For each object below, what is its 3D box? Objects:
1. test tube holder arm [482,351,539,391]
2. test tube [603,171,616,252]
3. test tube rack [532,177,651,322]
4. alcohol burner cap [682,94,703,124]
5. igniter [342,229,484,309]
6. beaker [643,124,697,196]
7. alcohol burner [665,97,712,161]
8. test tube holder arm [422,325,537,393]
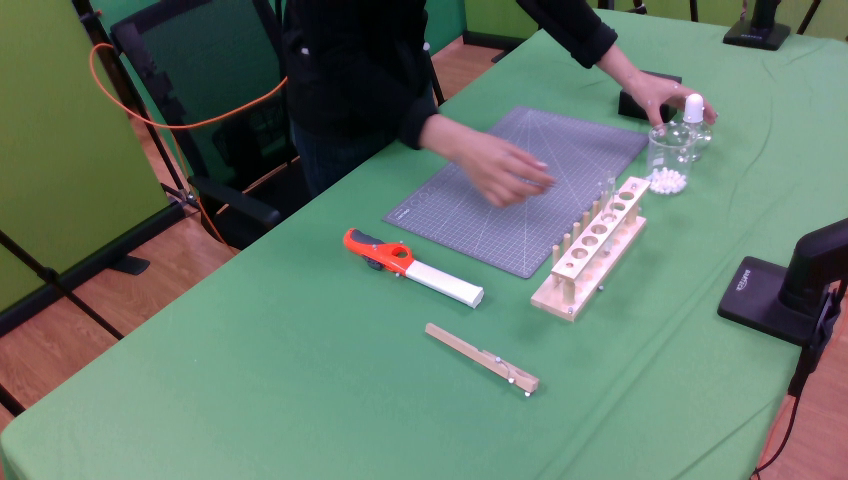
[{"bbox_3d":[0.106,0.166,0.769,0.087,0.015,0.010,24,15,34],"label":"test tube holder arm"},{"bbox_3d":[0.260,-0.036,0.847,0.017,0.151,0.017,-8,46,9],"label":"test tube"},{"bbox_3d":[0.247,0.002,0.883,0.066,0.085,0.243,22,49,32],"label":"test tube rack"},{"bbox_3d":[0.460,-0.225,1.033,0.034,0.048,0.033,-8,35,6],"label":"alcohol burner cap"},{"bbox_3d":[-0.027,0.039,0.936,0.274,0.025,0.057,23,60,33],"label":"igniter"},{"bbox_3d":[0.407,-0.132,1.001,0.084,0.101,0.073,-20,42,-13],"label":"beaker"},{"bbox_3d":[0.465,-0.198,1.057,0.078,0.119,0.077,-4,41,4],"label":"alcohol burner"},{"bbox_3d":[0.068,0.152,0.789,0.177,0.015,0.013,23,15,32],"label":"test tube holder arm"}]
